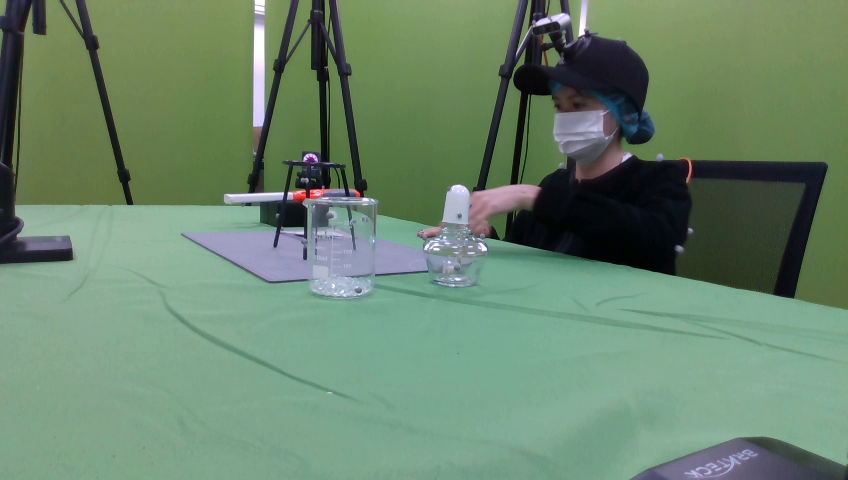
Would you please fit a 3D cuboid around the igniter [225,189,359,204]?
[{"bbox_3d":[-0.264,-0.089,1.239,0.278,0.025,0.057,-5,12,-32],"label":"igniter"}]

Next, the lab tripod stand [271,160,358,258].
[{"bbox_3d":[-0.159,-0.048,0.876,0.148,0.131,0.148,3,5,0],"label":"lab tripod stand"}]

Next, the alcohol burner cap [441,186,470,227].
[{"bbox_3d":[0.038,-0.039,0.700,0.034,0.048,0.034,6,4,0],"label":"alcohol burner cap"}]

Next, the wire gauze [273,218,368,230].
[{"bbox_3d":[-0.186,-0.028,1.089,0.124,0.011,0.122,0,7,36],"label":"wire gauze"}]

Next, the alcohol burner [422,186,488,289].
[{"bbox_3d":[0.036,-0.004,0.705,0.078,0.119,0.078,0,7,0],"label":"alcohol burner"}]

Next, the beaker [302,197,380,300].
[{"bbox_3d":[-0.089,0.007,0.625,0.084,0.100,0.074,4,7,16],"label":"beaker"}]
